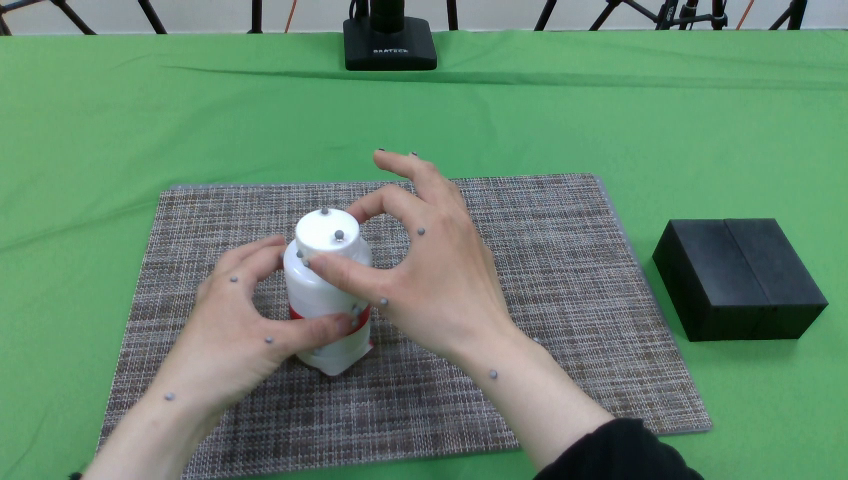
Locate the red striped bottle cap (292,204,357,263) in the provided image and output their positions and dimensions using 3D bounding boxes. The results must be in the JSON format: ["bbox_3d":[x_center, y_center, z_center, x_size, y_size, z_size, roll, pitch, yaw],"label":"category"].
[{"bbox_3d":[-0.068,-0.005,0.415,0.044,0.018,0.044,5,43,-4],"label":"red striped bottle cap"}]

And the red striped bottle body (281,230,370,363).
[{"bbox_3d":[-0.073,0.033,0.452,0.063,0.120,0.062,4,43,-3],"label":"red striped bottle body"}]
